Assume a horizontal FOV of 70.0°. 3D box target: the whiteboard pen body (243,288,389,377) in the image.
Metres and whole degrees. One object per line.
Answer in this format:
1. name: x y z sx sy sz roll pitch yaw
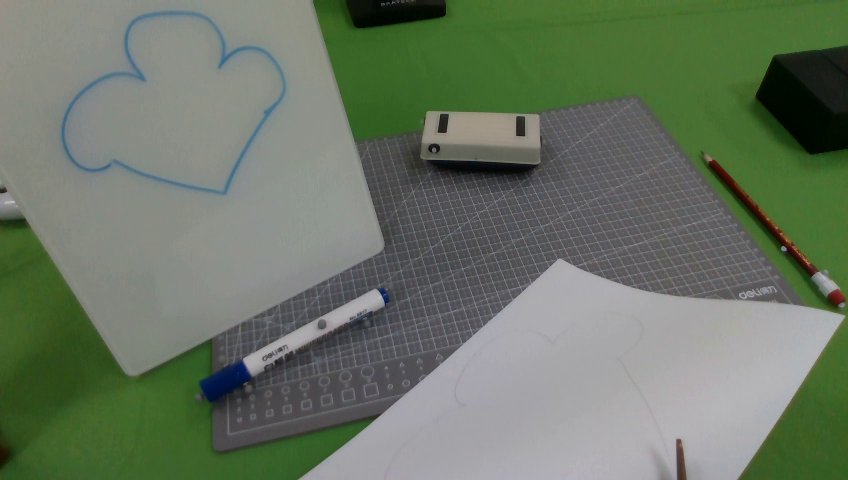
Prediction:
1. whiteboard pen body: -0.088 0.072 0.443 0.141 0.017 0.017 -27 53 -20

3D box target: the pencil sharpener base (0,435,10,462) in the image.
1. pencil sharpener base: -0.317 0.117 0.354 0.061 0.108 0.076 27 54 23

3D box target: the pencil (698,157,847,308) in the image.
1. pencil: 0.298 -0.016 0.533 0.012 0.012 0.192 -13 48 -11

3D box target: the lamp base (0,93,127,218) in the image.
1. lamp base: -0.383 -0.136 0.531 0.178 0.182 0.160 20 51 21

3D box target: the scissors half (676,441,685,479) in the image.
1. scissors half: 0.128 0.186 0.297 0.013 0.040 0.175 -2 92 7

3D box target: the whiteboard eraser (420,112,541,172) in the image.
1. whiteboard eraser: 0.055 -0.093 0.577 0.112 0.042 0.055 4 49 4

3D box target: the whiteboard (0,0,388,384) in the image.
1. whiteboard: -0.185 -0.093 0.447 0.217 0.308 0.142 -27 34 -20

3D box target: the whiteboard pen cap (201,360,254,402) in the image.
1. whiteboard pen cap: -0.136 0.098 0.422 0.033 0.018 0.018 -28 53 -21

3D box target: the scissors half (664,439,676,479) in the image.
1. scissors half: 0.126 0.181 0.275 0.013 0.040 0.173 -1 63 2
